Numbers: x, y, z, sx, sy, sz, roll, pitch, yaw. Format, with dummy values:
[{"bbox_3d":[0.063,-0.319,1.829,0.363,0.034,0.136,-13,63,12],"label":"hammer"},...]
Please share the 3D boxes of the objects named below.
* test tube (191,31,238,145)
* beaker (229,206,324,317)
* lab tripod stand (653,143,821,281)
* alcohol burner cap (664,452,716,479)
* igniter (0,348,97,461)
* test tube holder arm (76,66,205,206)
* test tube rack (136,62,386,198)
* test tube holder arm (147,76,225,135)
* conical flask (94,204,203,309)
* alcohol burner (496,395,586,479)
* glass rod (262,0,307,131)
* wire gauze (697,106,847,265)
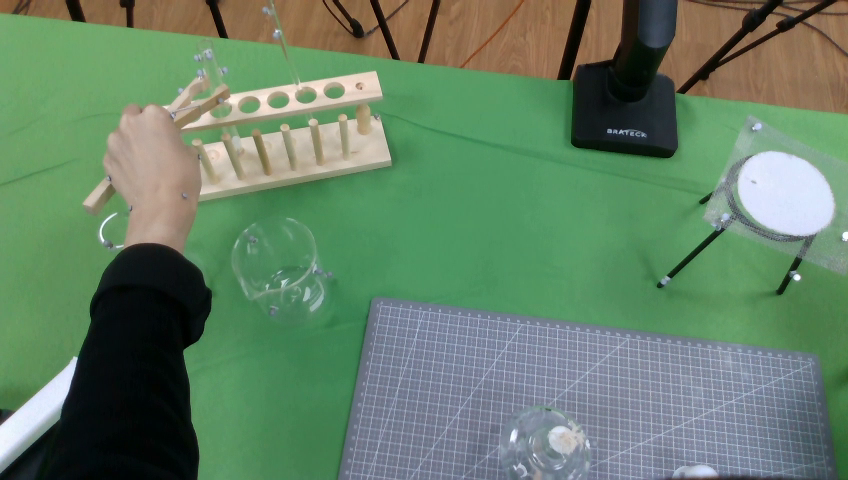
[{"bbox_3d":[-0.208,-0.146,0.609,0.017,0.151,0.017,2,60,-4],"label":"test tube"},{"bbox_3d":[-0.137,0.028,0.576,0.074,0.101,0.083,21,66,9],"label":"beaker"},{"bbox_3d":[0.309,-0.021,0.593,0.148,0.132,0.147,1,63,-3],"label":"lab tripod stand"},{"bbox_3d":[0.236,0.201,0.533,0.034,0.048,0.033,1,65,-2],"label":"alcohol burner cap"},{"bbox_3d":[-0.381,0.197,0.474,0.057,0.025,0.276,33,67,24],"label":"igniter"},{"bbox_3d":[-0.248,-0.098,0.541,0.013,0.015,0.177,23,56,4],"label":"test tube holder arm"},{"bbox_3d":[-0.167,-0.117,0.651,0.243,0.086,0.066,-12,65,-7],"label":"test tube rack"},{"bbox_3d":[-0.223,-0.126,0.565,0.010,0.015,0.087,39,58,13],"label":"test tube holder arm"},{"bbox_3d":[-0.262,0.011,0.567,0.075,0.123,0.074,1,64,-1],"label":"conical flask"},{"bbox_3d":[0.101,0.165,0.506,0.078,0.120,0.077,2,63,-3],"label":"alcohol burner"},{"bbox_3d":[-0.138,-0.175,0.606,0.008,0.201,0.008,-2,57,4],"label":"glass rod"},{"bbox_3d":[0.318,-0.051,0.532,0.121,0.011,0.124,27,67,9],"label":"wire gauze"}]
